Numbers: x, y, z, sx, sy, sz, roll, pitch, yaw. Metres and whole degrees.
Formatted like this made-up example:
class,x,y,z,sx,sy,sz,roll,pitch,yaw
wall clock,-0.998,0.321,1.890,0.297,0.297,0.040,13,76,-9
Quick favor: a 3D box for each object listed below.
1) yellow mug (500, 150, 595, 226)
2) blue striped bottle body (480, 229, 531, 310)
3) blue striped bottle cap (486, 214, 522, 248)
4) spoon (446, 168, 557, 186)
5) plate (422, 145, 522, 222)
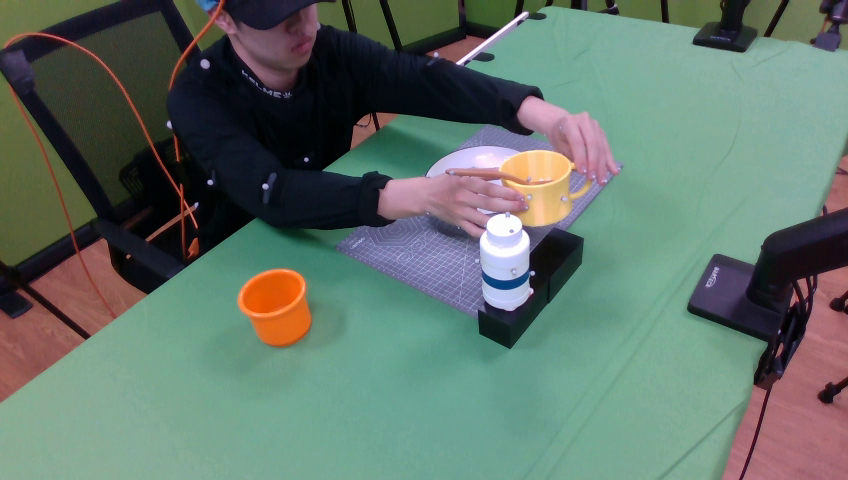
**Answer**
class,x,y,z,sx,sy,sz,roll,pitch,yaw
yellow mug,0.173,-0.076,0.842,0.131,0.064,0.099,-9,37,1
blue striped bottle body,0.104,0.026,0.769,0.063,0.121,0.063,-4,41,4
blue striped bottle cap,0.098,-0.012,0.735,0.044,0.021,0.044,-2,38,2
spoon,0.112,-0.082,0.810,0.195,0.021,0.041,8,25,-31
plate,0.101,-0.094,1.048,0.207,0.039,0.206,-4,41,4
